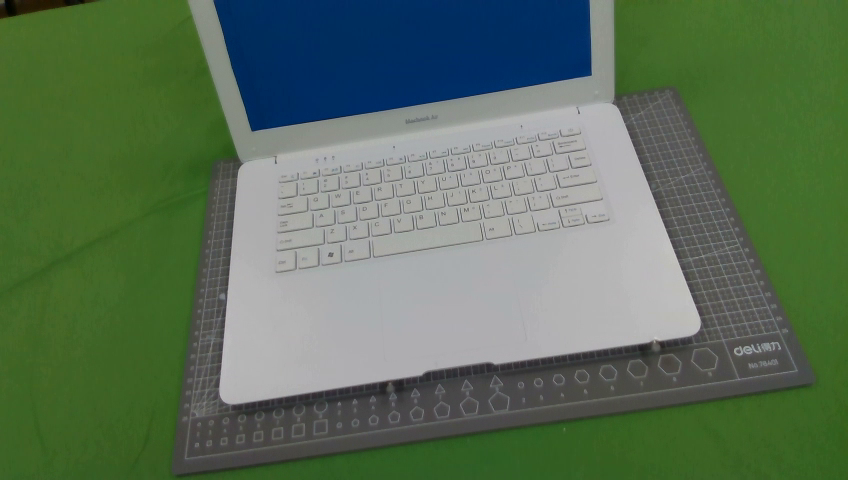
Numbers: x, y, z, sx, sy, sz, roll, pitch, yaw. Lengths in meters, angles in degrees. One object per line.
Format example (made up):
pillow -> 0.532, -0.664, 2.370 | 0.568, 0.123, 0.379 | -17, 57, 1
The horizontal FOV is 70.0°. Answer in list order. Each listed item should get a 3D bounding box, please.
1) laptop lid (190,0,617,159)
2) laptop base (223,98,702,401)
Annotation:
laptop lid -> -0.015, -0.200, 0.509 | 0.357, 0.243, 0.013 | -10, 29, 3
laptop base -> 0.015, -0.003, 0.501 | 0.354, 0.023, 0.233 | -9, 59, 2
